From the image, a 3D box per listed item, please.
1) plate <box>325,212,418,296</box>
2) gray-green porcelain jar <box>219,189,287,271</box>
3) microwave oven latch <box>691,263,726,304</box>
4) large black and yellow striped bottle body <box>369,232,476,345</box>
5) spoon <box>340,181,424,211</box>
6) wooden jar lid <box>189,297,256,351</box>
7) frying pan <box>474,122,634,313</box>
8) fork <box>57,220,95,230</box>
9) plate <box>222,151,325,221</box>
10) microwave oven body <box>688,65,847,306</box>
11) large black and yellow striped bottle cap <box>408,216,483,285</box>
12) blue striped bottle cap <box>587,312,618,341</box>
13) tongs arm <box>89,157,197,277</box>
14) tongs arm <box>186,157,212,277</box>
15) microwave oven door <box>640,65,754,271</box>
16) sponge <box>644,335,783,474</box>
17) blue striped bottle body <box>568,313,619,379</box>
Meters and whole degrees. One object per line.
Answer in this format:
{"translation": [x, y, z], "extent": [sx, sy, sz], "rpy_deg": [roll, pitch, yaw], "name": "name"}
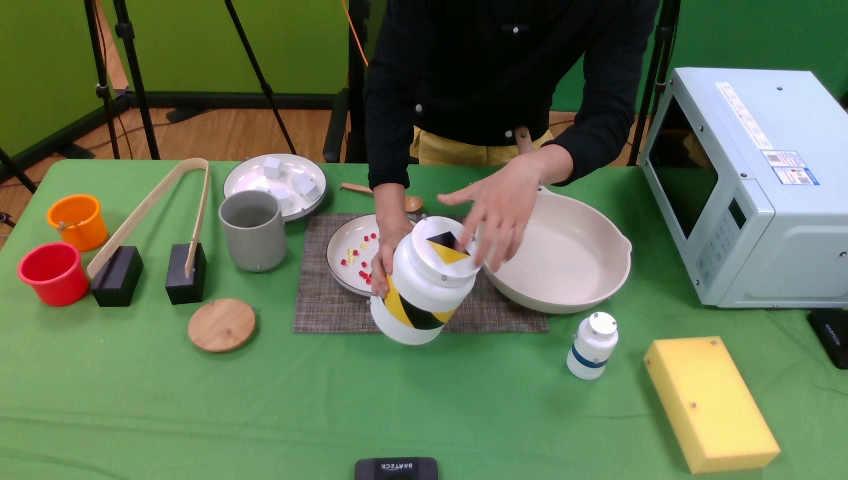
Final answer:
{"translation": [-0.080, 0.030, 1.144], "extent": [0.209, 0.038, 0.208], "rpy_deg": [3, 46, -3], "name": "plate"}
{"translation": [-0.309, -0.014, 1.113], "extent": [0.106, 0.127, 0.105], "rpy_deg": [2, 46, -2], "name": "gray-green porcelain jar"}
{"translation": [0.521, 0.081, 1.116], "extent": [0.030, 0.029, 0.078], "rpy_deg": [0, 46, -3], "name": "microwave oven latch"}
{"translation": [0.001, 0.065, 0.943], "extent": [0.131, 0.184, 0.130], "rpy_deg": [14, 47, -16], "name": "large black and yellow striped bottle body"}
{"translation": [-0.090, -0.100, 1.282], "extent": [0.193, 0.022, 0.041], "rpy_deg": [18, 65, 13], "name": "spoon"}
{"translation": [-0.342, 0.145, 1.033], "extent": [0.108, 0.021, 0.107], "rpy_deg": [3, 45, -2], "name": "wooden jar lid"}
{"translation": [0.235, -0.061, 1.207], "extent": [0.307, 0.103, 0.484], "rpy_deg": [2, 55, -6], "name": "frying pan"}
{"translation": [-0.624, -0.027, 1.087], "extent": [0.028, 0.207, 0.018], "rpy_deg": [-3, 92, -17], "name": "fork"}
{"translation": [-0.310, -0.106, 1.263], "extent": [0.208, 0.039, 0.206], "rpy_deg": [2, 47, -2], "name": "plate"}
{"translation": [0.669, -0.111, 1.176], "extent": [0.326, 0.261, 0.439], "rpy_deg": [0, 46, -3], "name": "microwave oven body"}
{"translation": [0.033, 0.013, 0.884], "extent": [0.115, 0.019, 0.114], "rpy_deg": [14, 48, -16], "name": "large black and yellow striped bottle cap"}
{"translation": [0.279, 0.134, 0.946], "extent": [0.044, 0.021, 0.044], "rpy_deg": [2, 45, -2], "name": "blue striped bottle cap"}
{"translation": [-0.529, -0.059, 1.163], "extent": [0.028, 0.028, 0.385], "rpy_deg": [2, 36, 7], "name": "tongs arm"}
{"translation": [-0.445, -0.058, 1.168], "extent": [0.051, 0.026, 0.382], "rpy_deg": [-4, 37, -6], "name": "tongs arm"}
{"translation": [0.524, -0.148, 1.193], "extent": [0.039, 0.245, 0.353], "rpy_deg": [0, 47, -3], "name": "microwave oven door"}
{"translation": [0.448, 0.253, 0.956], "extent": [0.118, 0.061, 0.205], "rpy_deg": [-3, 47, -7], "name": "sponge"}
{"translation": [0.276, 0.168, 0.984], "extent": [0.063, 0.121, 0.062], "rpy_deg": [2, 47, -2], "name": "blue striped bottle body"}
